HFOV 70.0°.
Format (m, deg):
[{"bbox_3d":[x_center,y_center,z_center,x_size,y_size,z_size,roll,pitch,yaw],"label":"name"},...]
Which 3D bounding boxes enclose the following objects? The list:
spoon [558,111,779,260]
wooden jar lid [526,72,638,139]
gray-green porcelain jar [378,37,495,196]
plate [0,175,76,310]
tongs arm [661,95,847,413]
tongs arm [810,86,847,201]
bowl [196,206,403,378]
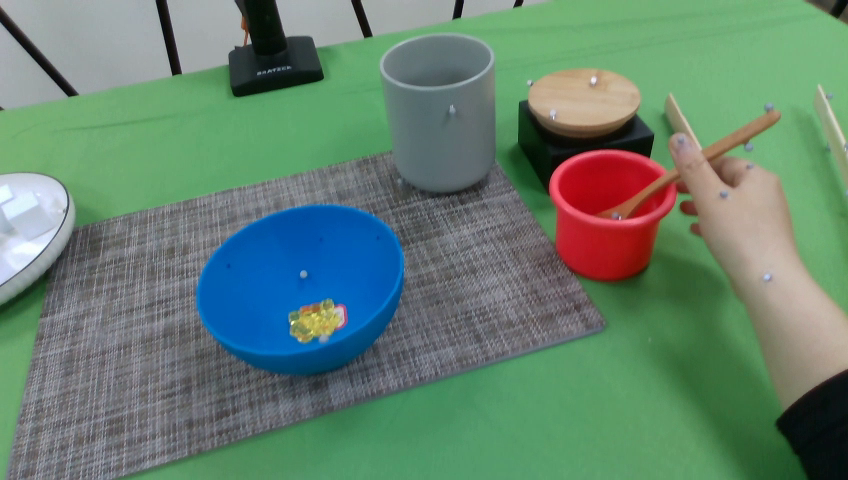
[{"bbox_3d":[0.188,-0.040,0.484,0.194,0.022,0.041,-40,32,32],"label":"spoon"},{"bbox_3d":[0.156,-0.134,0.604,0.108,0.021,0.107,-4,44,4],"label":"wooden jar lid"},{"bbox_3d":[0.016,-0.116,0.592,0.106,0.128,0.105,-4,44,4],"label":"gray-green porcelain jar"},{"bbox_3d":[-0.436,0.015,0.577,0.209,0.038,0.207,-4,44,4],"label":"plate"},{"bbox_3d":[0.277,-0.019,0.538,0.028,0.028,0.383,-4,44,0],"label":"tongs arm"},{"bbox_3d":[0.358,-0.022,0.523,0.050,0.027,0.381,4,46,13],"label":"tongs arm"},{"bbox_3d":[-0.086,0.052,0.464,0.151,0.077,0.150,-3,43,4],"label":"bowl"}]
